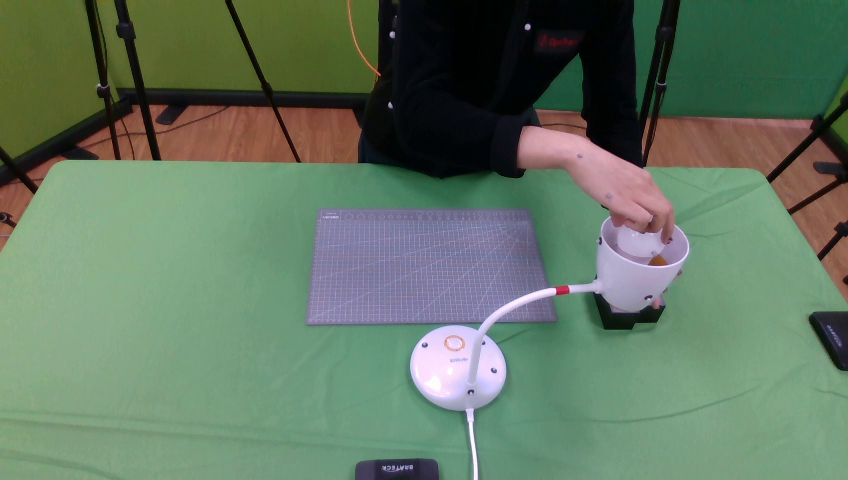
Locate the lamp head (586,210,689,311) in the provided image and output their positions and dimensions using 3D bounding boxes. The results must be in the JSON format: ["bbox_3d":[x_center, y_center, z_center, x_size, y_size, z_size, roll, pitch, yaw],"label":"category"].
[{"bbox_3d":[0.280,0.038,0.819,0.112,0.123,0.111,5,41,-4],"label":"lamp head"}]

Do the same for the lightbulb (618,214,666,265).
[{"bbox_3d":[0.285,0.016,0.808,0.059,0.108,0.059,0,36,0],"label":"lightbulb"}]

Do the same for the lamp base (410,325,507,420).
[{"bbox_3d":[0.064,0.164,0.937,0.161,0.181,0.178,-10,51,-13],"label":"lamp base"}]
